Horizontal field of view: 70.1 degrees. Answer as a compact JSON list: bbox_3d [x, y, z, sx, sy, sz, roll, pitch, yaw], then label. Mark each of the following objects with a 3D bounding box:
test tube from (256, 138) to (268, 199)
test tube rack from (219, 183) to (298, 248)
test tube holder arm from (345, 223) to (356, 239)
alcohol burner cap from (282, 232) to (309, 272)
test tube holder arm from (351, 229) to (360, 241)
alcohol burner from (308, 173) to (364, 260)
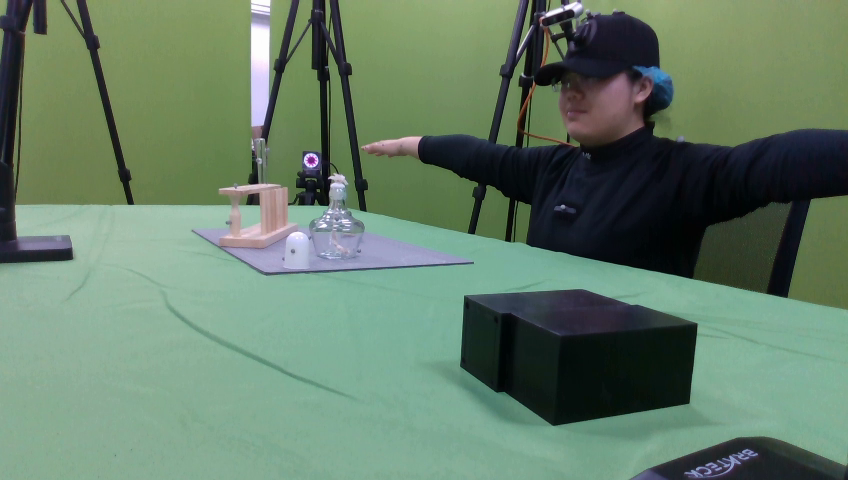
[{"bbox_3d":[-0.284,-0.105,1.066,0.017,0.150,0.017,-1,9,0],"label":"test tube"},{"bbox_3d":[-0.266,-0.046,1.002,0.067,0.085,0.242,3,7,0],"label":"test tube rack"},{"bbox_3d":[-0.132,-0.018,1.083,0.013,0.015,0.178,35,0,-12],"label":"test tube holder arm"},{"bbox_3d":[-0.157,0.014,0.740,0.034,0.048,0.034,2,6,0],"label":"alcohol burner cap"},{"bbox_3d":[-0.120,-0.010,1.040,0.010,0.015,0.087,35,0,-11],"label":"test tube holder arm"},{"bbox_3d":[-0.121,-0.033,0.841,0.078,0.119,0.078,3,5,0],"label":"alcohol burner"}]
